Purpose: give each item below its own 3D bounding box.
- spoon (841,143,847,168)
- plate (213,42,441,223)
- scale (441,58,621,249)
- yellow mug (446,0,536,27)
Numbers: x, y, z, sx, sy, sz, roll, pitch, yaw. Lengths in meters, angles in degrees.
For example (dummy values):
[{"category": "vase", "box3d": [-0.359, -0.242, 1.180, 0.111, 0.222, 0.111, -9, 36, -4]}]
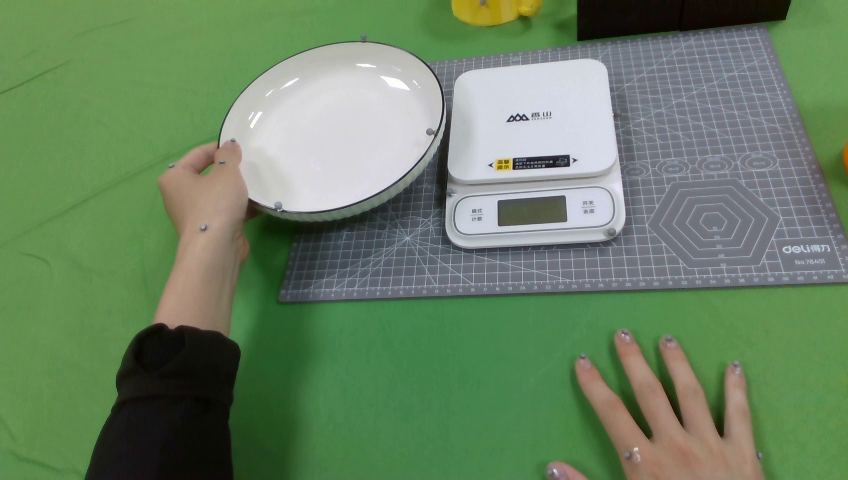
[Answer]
[{"category": "spoon", "box3d": [0.393, -0.101, 0.415, 0.022, 0.194, 0.041, 19, 54, -27]}, {"category": "plate", "box3d": [-0.086, -0.098, 0.552, 0.209, 0.038, 0.207, -5, 57, 8]}, {"category": "scale", "box3d": [0.091, -0.083, 0.544, 0.148, 0.032, 0.199, -3, 55, 12]}, {"category": "yellow mug", "box3d": [0.078, -0.292, 0.679, 0.100, 0.064, 0.129, -38, 56, -14]}]
